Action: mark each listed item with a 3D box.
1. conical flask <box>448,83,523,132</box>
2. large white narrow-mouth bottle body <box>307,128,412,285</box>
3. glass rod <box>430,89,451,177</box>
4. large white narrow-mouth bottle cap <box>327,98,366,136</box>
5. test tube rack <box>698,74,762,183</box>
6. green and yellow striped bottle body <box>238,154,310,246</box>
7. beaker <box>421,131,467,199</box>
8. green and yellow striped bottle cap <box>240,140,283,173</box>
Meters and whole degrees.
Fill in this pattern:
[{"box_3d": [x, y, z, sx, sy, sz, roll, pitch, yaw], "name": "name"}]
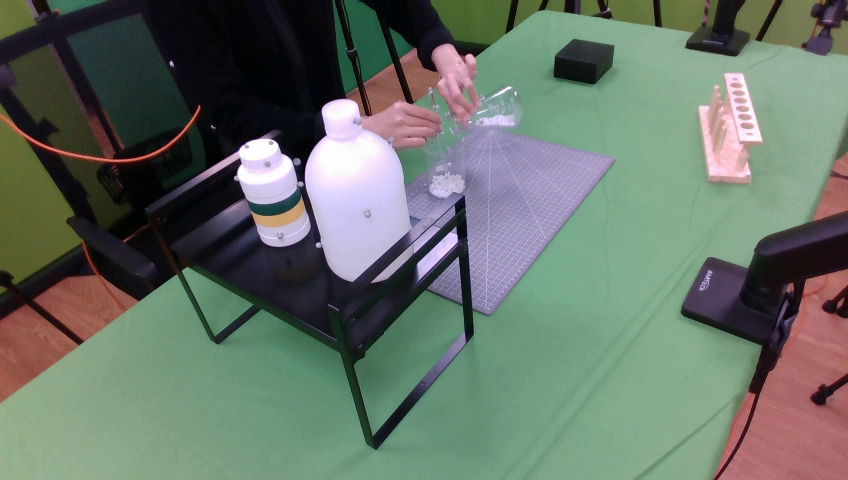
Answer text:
[{"box_3d": [0.103, -0.218, 1.034, 0.122, 0.075, 0.074, -19, 42, -16], "name": "conical flask"}, {"box_3d": [-0.070, -0.051, 0.638, 0.102, 0.195, 0.101, -3, 40, 3], "name": "large white narrow-mouth bottle body"}, {"box_3d": [0.030, -0.176, 1.027, 0.008, 0.201, 0.008, -6, 52, 8], "name": "glass rod"}, {"box_3d": [-0.075, -0.118, 0.581, 0.038, 0.024, 0.037, -3, 40, 3], "name": "large white narrow-mouth bottle cap"}, {"box_3d": [0.547, -0.208, 1.094, 0.066, 0.085, 0.242, 5, 42, 15], "name": "test tube rack"}, {"box_3d": [-0.178, -0.056, 0.714, 0.063, 0.120, 0.063, -4, 40, 4], "name": "green and yellow striped bottle body"}, {"box_3d": [0.040, -0.130, 1.060, 0.084, 0.100, 0.073, -24, 43, -20], "name": "beaker"}, {"box_3d": [-0.183, -0.094, 0.679, 0.045, 0.020, 0.045, -4, 38, 4], "name": "green and yellow striped bottle cap"}]
